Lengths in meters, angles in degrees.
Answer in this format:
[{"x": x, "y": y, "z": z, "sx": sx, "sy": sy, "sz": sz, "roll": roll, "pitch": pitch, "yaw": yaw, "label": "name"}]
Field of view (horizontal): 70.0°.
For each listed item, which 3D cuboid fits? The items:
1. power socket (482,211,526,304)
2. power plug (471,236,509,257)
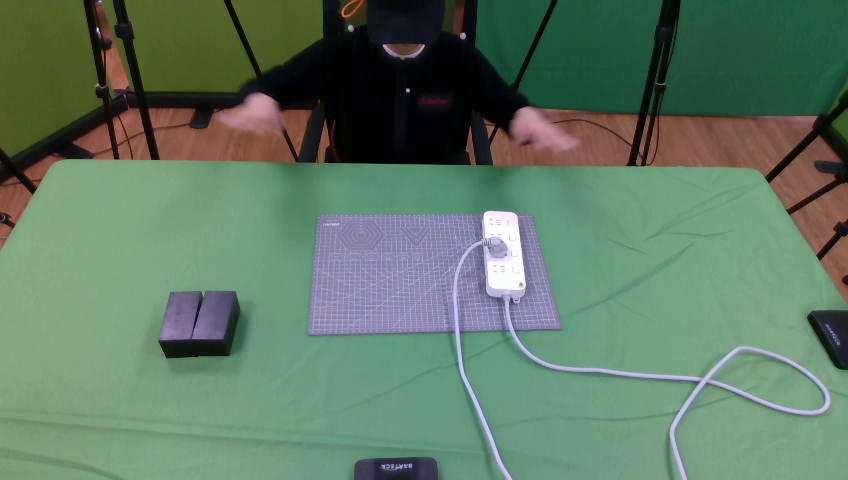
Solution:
[{"x": 0.153, "y": 0.024, "z": 1.174, "sx": 0.072, "sy": 0.033, "sz": 0.225, "roll": 2, "pitch": 46, "yaw": 0, "label": "power socket"}, {"x": 0.125, "y": 0.013, "z": 1.149, "sx": 0.072, "sy": 0.053, "sz": 0.035, "roll": 11, "pitch": 46, "yaw": 5, "label": "power plug"}]
